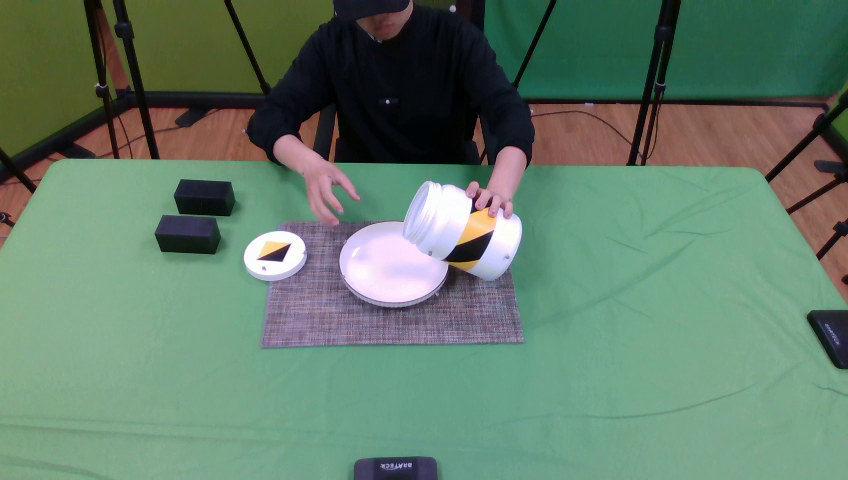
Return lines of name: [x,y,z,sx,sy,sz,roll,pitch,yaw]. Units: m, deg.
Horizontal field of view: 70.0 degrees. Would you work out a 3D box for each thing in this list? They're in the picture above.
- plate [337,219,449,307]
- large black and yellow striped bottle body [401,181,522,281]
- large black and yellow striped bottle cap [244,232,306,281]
plate: [-0.057,0.045,1.133,0.208,0.039,0.206,2,46,-2]
large black and yellow striped bottle body: [0.064,-0.019,1.066,0.184,0.131,0.130,24,44,-14]
large black and yellow striped bottle cap: [-0.282,0.030,1.146,0.115,0.019,0.114,0,45,1]
